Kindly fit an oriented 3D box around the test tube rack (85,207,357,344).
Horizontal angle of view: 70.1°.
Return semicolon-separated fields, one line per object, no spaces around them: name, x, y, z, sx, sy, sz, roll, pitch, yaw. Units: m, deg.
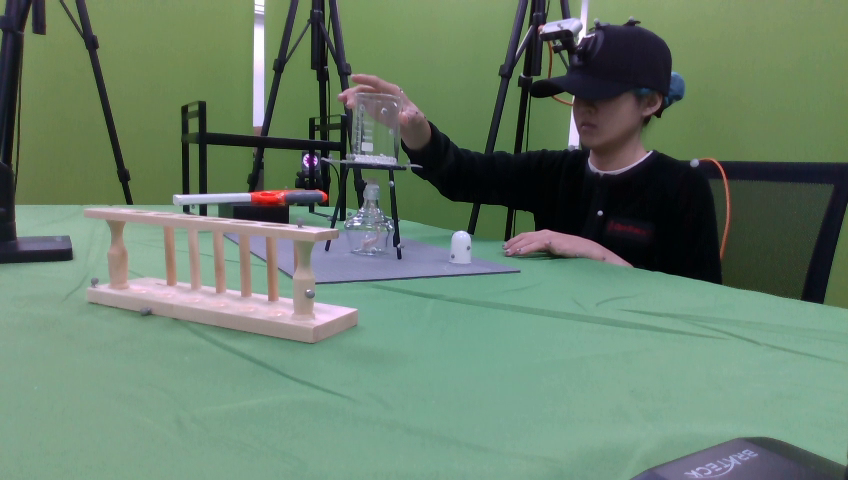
test tube rack;-0.177;0.022;0.518;0.241;0.085;0.067;6;7;23

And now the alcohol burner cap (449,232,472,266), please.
alcohol burner cap;0.052;0.012;0.843;0.034;0.048;0.034;2;6;0

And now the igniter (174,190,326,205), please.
igniter;-0.317;-0.079;1.131;0.278;0.025;0.057;-4;13;-32

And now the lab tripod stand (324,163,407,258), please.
lab tripod stand;-0.073;-0.047;0.900;0.148;0.131;0.148;2;5;0

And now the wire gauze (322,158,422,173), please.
wire gauze;-0.079;-0.111;0.893;0.122;0.011;0.124;4;2;-25

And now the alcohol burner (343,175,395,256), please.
alcohol burner;-0.079;-0.036;0.890;0.078;0.119;0.078;5;7;0

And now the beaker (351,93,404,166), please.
beaker;-0.068;-0.159;0.886;0.084;0.100;0.073;-1;9;-39
